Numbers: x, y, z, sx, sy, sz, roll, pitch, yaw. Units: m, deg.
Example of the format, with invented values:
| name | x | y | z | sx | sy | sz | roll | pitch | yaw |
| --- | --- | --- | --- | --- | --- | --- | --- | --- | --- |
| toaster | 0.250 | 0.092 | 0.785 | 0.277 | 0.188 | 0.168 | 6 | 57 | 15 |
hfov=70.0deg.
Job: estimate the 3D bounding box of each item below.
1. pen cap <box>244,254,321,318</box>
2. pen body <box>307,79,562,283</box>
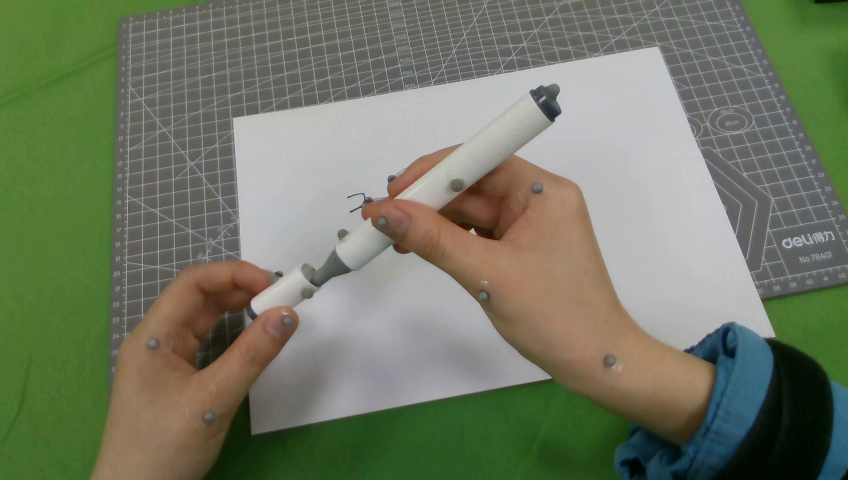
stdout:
| name | x | y | z | sx | sy | sz | roll | pitch | yaw |
| --- | --- | --- | --- | --- | --- | --- | --- | --- | --- |
| pen cap | -0.068 | 0.023 | 0.292 | 0.038 | 0.017 | 0.017 | -32 | 67 | 17 |
| pen body | -0.004 | -0.017 | 0.258 | 0.144 | 0.017 | 0.017 | -35 | 65 | 26 |
